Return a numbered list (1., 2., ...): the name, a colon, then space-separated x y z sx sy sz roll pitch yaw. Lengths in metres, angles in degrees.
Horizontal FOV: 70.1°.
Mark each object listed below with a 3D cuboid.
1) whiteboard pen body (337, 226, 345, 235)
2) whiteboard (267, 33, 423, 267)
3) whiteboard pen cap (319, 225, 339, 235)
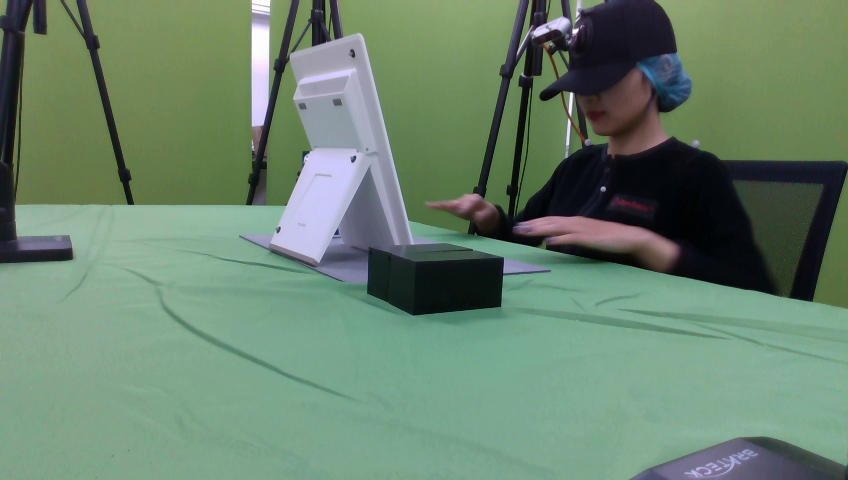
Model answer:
1. whiteboard pen body: -0.115 -0.017 1.083 0.141 0.017 0.017 0 7 -34
2. whiteboard: -0.153 -0.098 0.819 0.144 0.305 0.216 -25 21 -29
3. whiteboard pen cap: -0.164 -0.017 1.050 0.033 0.018 0.018 1 6 -34
